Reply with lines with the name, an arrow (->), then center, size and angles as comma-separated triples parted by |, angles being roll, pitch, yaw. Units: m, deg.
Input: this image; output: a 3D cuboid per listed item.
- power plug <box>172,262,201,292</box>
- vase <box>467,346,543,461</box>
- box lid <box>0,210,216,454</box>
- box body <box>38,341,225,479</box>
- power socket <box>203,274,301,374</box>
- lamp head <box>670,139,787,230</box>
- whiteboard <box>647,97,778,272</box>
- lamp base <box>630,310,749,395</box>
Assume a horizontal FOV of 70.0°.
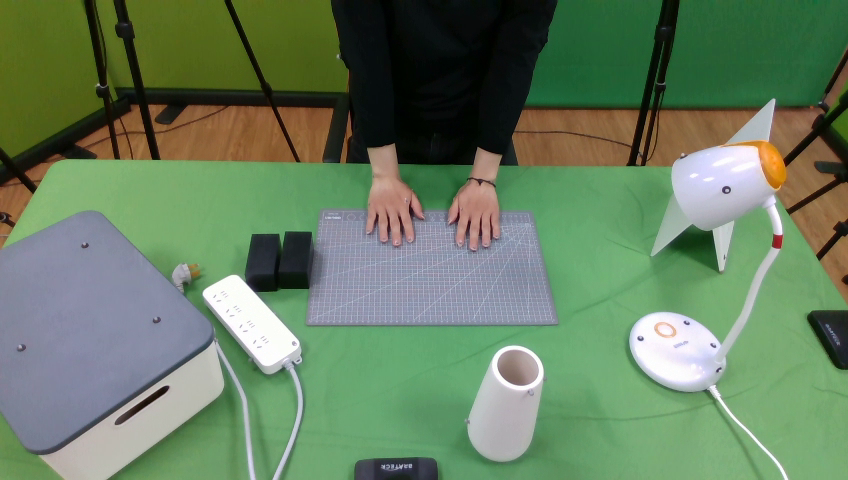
power plug -> -0.427, 0.075, 1.101 | 0.053, 0.035, 0.072 | -17, 91, -29
vase -> 0.116, 0.234, 0.861 | 0.098, 0.201, 0.097 | 1, 47, -1
box lid -> -0.504, 0.102, 0.863 | 0.369, 0.015, 0.263 | 35, 53, 26
box body -> -0.506, 0.155, 0.915 | 0.362, 0.161, 0.254 | 35, 54, 26
power socket -> -0.297, 0.140, 1.035 | 0.072, 0.033, 0.225 | -32, 57, -29
lamp head -> 0.415, -0.079, 0.812 | 0.113, 0.123, 0.112 | 12, 70, -37
whiteboard -> 0.602, -0.079, 1.162 | 0.144, 0.306, 0.216 | 35, 51, 2
lamp base -> 0.447, 0.142, 0.984 | 0.161, 0.181, 0.178 | -24, 55, -24
